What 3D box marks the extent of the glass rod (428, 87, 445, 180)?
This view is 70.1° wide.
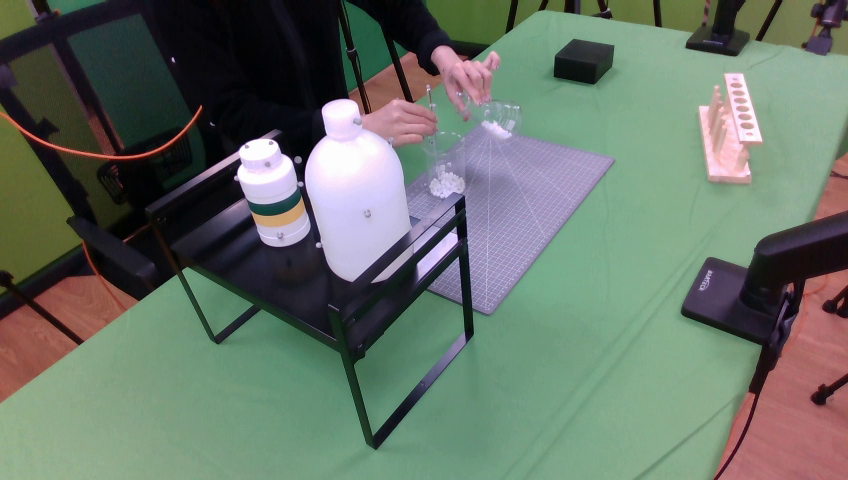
[{"bbox_3d":[0.023,-0.176,1.032,0.008,0.201,0.008,-5,48,6],"label":"glass rod"}]

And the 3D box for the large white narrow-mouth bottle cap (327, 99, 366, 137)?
[{"bbox_3d":[-0.075,-0.118,0.582,0.038,0.024,0.037,-3,40,3],"label":"large white narrow-mouth bottle cap"}]

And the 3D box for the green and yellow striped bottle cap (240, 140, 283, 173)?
[{"bbox_3d":[-0.183,-0.094,0.679,0.045,0.020,0.045,-4,38,4],"label":"green and yellow striped bottle cap"}]

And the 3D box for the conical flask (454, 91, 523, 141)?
[{"bbox_3d":[0.107,-0.221,1.046,0.123,0.075,0.074,11,25,-41],"label":"conical flask"}]

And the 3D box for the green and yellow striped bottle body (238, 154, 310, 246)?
[{"bbox_3d":[-0.178,-0.056,0.714,0.063,0.120,0.063,-4,40,4],"label":"green and yellow striped bottle body"}]

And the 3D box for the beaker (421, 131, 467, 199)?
[{"bbox_3d":[0.040,-0.130,1.060,0.084,0.100,0.073,-24,44,-19],"label":"beaker"}]

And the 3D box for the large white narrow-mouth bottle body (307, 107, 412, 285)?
[{"bbox_3d":[-0.070,-0.051,0.638,0.102,0.195,0.101,-3,40,3],"label":"large white narrow-mouth bottle body"}]

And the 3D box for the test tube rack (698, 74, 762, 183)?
[{"bbox_3d":[0.547,-0.208,1.095,0.066,0.085,0.242,5,42,15],"label":"test tube rack"}]
